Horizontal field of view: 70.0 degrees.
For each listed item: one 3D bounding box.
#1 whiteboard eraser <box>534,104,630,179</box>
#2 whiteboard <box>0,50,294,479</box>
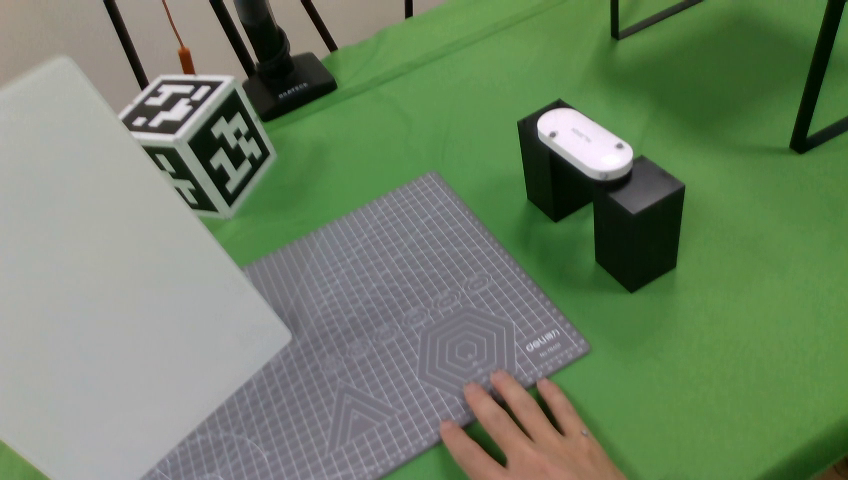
[{"bbox_3d":[0.134,-0.088,0.521,0.041,0.019,0.100,-29,48,-12],"label":"whiteboard eraser"},{"bbox_3d":[-0.304,0.034,0.522,0.217,0.308,0.142,-44,31,-22],"label":"whiteboard"}]
